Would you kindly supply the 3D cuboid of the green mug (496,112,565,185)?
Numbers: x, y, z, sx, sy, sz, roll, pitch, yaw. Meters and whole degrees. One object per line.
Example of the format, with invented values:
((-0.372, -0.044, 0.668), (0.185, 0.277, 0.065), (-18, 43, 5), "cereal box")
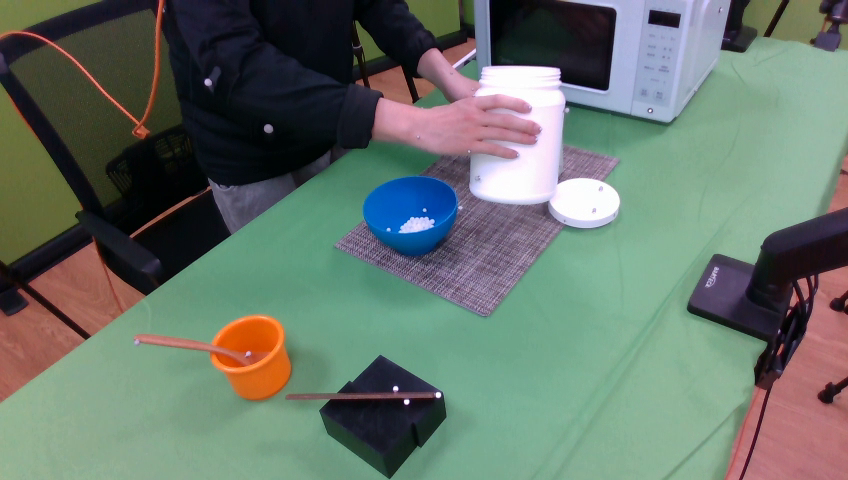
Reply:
((0.185, -0.161, 1.061), (0.124, 0.105, 0.092), (15, 46, 25), "green mug")

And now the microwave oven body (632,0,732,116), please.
((0.377, -0.463, 1.267), (0.438, 0.261, 0.327), (21, 48, 30), "microwave oven body")

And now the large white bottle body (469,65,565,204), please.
((0.133, -0.155, 0.873), (0.131, 0.185, 0.130), (1, 19, 0), "large white bottle body")

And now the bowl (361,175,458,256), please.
((-0.019, -0.029, 0.955), (0.151, 0.077, 0.150), (-4, 40, 3), "bowl")

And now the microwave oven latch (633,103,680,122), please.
((0.443, -0.249, 1.157), (0.078, 0.029, 0.030), (21, 48, 30), "microwave oven latch")

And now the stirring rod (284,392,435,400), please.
((-0.075, 0.180, 0.698), (0.176, 0.006, 0.014), (-2, 6, 6), "stirring rod")

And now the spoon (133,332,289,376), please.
((-0.257, 0.137, 0.747), (0.021, 0.195, 0.041), (-47, 40, 23), "spoon")

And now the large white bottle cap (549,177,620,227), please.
((0.265, -0.064, 1.000), (0.115, 0.018, 0.114), (-1, 42, 2), "large white bottle cap")

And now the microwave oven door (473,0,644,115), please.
((0.257, -0.396, 1.199), (0.353, 0.245, 0.039), (21, 48, 29), "microwave oven door")
